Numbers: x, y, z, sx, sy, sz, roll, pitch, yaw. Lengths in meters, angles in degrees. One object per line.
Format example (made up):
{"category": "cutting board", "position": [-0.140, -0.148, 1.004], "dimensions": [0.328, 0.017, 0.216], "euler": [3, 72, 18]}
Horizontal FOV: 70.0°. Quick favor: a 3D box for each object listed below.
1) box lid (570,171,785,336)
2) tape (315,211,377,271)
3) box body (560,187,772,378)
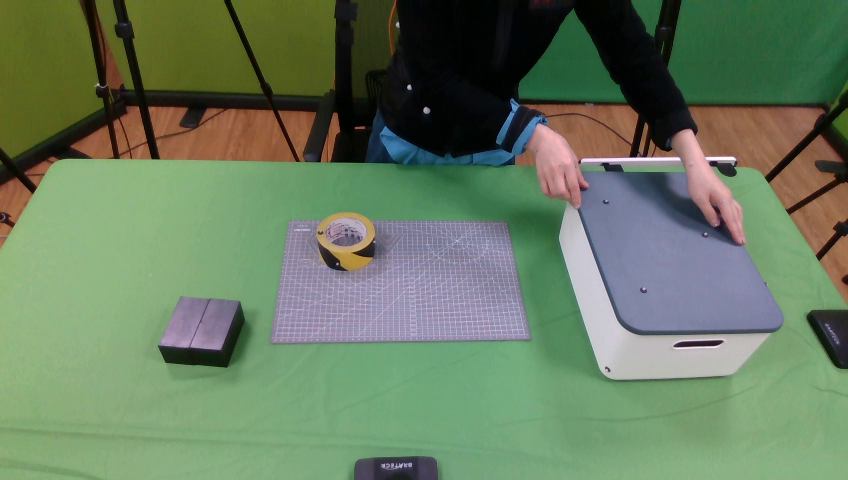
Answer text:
{"category": "box lid", "position": [0.408, 0.007, 1.018], "dimensions": [0.263, 0.015, 0.369], "euler": [-1, 46, -5]}
{"category": "tape", "position": [-0.150, 0.000, 1.160], "dimensions": [0.117, 0.053, 0.116], "euler": [3, 46, -3]}
{"category": "box body", "position": [0.405, 0.057, 1.074], "dimensions": [0.254, 0.161, 0.361], "euler": [-2, 46, -5]}
